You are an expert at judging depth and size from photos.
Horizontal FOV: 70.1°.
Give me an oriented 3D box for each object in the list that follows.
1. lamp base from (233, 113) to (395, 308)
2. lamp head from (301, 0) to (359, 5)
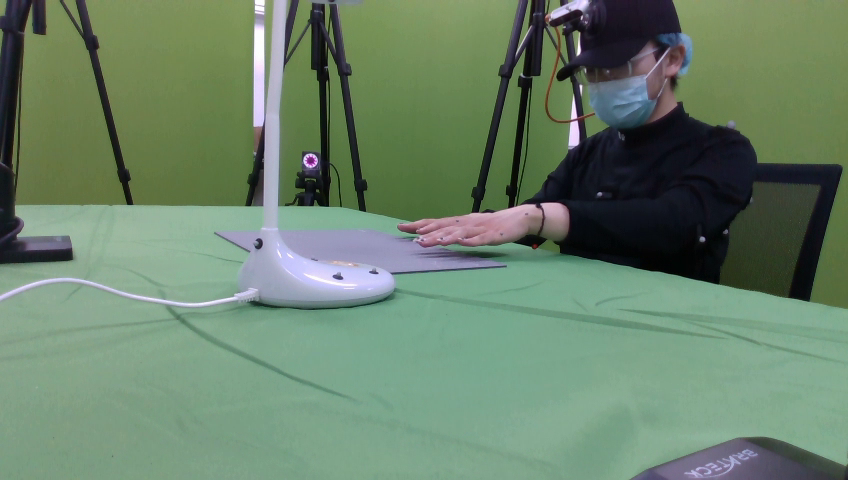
[{"bbox_3d":[-0.113,-0.033,0.600,0.160,0.180,0.180,6,11,28],"label":"lamp base"},{"bbox_3d":[-0.095,-0.314,0.610,0.112,0.123,0.112,-4,50,5],"label":"lamp head"}]
